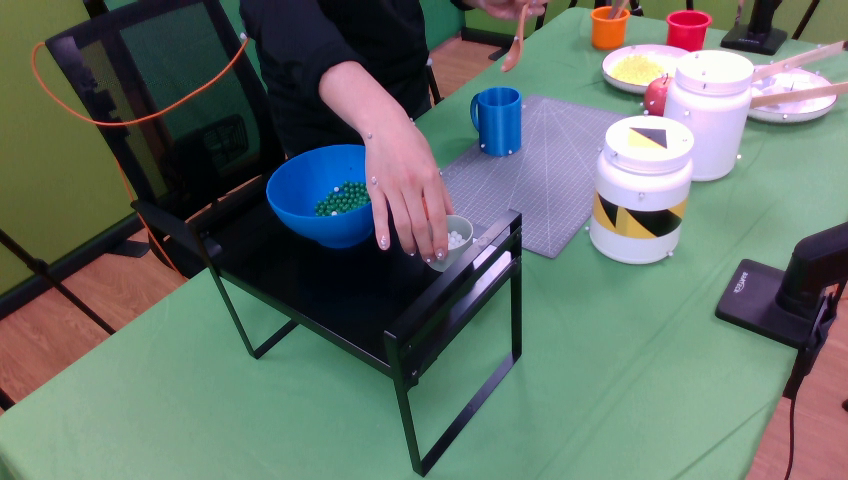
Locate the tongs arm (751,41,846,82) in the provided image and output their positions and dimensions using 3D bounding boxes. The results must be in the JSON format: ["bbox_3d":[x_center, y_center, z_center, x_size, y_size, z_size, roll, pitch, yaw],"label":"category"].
[{"bbox_3d":[0.708,-0.331,1.194,0.386,0.026,0.050,-19,46,-16],"label":"tongs arm"}]

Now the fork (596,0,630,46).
[{"bbox_3d":[0.481,-0.556,1.452,0.028,0.019,0.207,40,103,40],"label":"fork"}]

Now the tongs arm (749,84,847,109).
[{"bbox_3d":[0.735,-0.279,1.134,0.388,0.028,0.028,-9,47,-5],"label":"tongs arm"}]

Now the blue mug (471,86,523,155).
[{"bbox_3d":[0.135,-0.235,1.163,0.082,0.106,0.115,-36,48,-28],"label":"blue mug"}]

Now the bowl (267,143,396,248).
[{"bbox_3d":[-0.104,-0.043,0.726,0.151,0.077,0.150,-4,41,4],"label":"bowl"}]

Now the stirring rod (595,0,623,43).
[{"bbox_3d":[0.460,-0.556,1.459,0.014,0.006,0.176,30,93,23],"label":"stirring rod"}]

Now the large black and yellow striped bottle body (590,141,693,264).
[{"bbox_3d":[0.317,-0.071,0.889,0.131,0.185,0.130,-4,41,4],"label":"large black and yellow striped bottle body"}]

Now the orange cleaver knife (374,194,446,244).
[{"bbox_3d":[-0.032,-0.026,0.964,0.210,0.077,0.012,-10,29,51],"label":"orange cleaver knife"}]

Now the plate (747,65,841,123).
[{"bbox_3d":[0.694,-0.283,1.189,0.207,0.039,0.206,-4,40,4],"label":"plate"}]

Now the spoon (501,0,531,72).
[{"bbox_3d":[0.167,-0.372,1.000,0.022,0.193,0.041,11,14,-22],"label":"spoon"}]

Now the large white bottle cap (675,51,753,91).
[{"bbox_3d":[0.463,-0.271,0.967,0.115,0.018,0.114,-4,40,3],"label":"large white bottle cap"}]

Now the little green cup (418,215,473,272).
[{"bbox_3d":[0.026,0.005,0.678,0.061,0.039,0.061,-4,40,4],"label":"little green cup"}]

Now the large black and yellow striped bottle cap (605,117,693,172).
[{"bbox_3d":[0.309,-0.134,0.833,0.115,0.019,0.114,-5,40,5],"label":"large black and yellow striped bottle cap"}]

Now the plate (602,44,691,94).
[{"bbox_3d":[0.495,-0.367,1.317,0.209,0.038,0.208,-4,40,4],"label":"plate"}]

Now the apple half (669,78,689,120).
[{"bbox_3d":[0.498,-0.273,1.180,0.032,0.082,0.081,7,42,25],"label":"apple half"}]

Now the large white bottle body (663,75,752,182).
[{"bbox_3d":[0.472,-0.207,1.022,0.130,0.185,0.130,-4,41,4],"label":"large white bottle body"}]

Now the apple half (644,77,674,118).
[{"bbox_3d":[0.463,-0.279,1.194,0.053,0.075,0.081,8,46,24],"label":"apple half"}]
